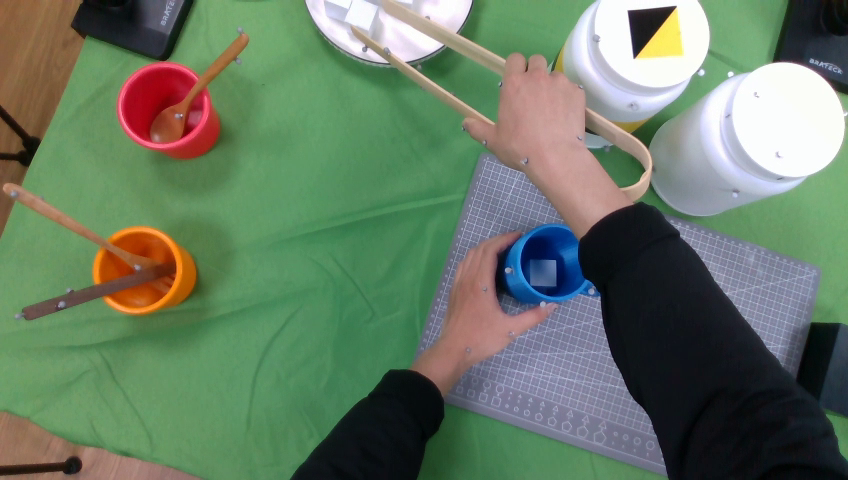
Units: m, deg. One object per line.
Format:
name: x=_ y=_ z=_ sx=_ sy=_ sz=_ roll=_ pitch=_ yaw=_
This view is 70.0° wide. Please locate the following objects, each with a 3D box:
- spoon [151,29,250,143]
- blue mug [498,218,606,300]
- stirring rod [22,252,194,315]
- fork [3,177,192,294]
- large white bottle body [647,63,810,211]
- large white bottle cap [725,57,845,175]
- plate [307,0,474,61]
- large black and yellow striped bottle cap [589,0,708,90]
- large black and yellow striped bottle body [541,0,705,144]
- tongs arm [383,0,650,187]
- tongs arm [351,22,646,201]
spoon: x=-0.244 y=-0.163 z=0.653 sx=0.193 sy=0.022 sz=0.041 roll=-31 pitch=81 yaw=37
blue mug: x=0.147 y=0.031 z=0.678 sx=0.116 sy=0.106 sz=0.082 roll=25 pitch=82 yaw=-1
stirring rod: x=-0.319 y=0.042 z=0.629 sx=0.176 sy=0.006 sz=0.014 roll=-23 pitch=88 yaw=-48
fork: x=-0.329 y=-0.001 z=0.626 sx=0.028 sy=0.018 sz=0.209 roll=-54 pitch=133 yaw=-8
large white bottle body: x=0.343 y=-0.109 z=0.669 sx=0.131 sy=0.185 sz=0.130 roll=0 pitch=83 yaw=-4
large white bottle cap: x=0.349 y=-0.120 z=0.585 sx=0.115 sy=0.018 sz=0.114 roll=1 pitch=84 yaw=-5
plate: x=-0.041 y=-0.314 z=0.736 sx=0.208 sy=0.039 sz=0.207 roll=0 pitch=84 yaw=-4
large black and yellow striped bottle cap: x=0.218 y=-0.204 z=0.586 sx=0.115 sy=0.019 sz=0.114 roll=0 pitch=85 yaw=-5
large black and yellow striped bottle body: x=0.212 y=-0.192 z=0.668 sx=0.131 sy=0.184 sz=0.130 roll=0 pitch=83 yaw=-4
tongs arm: x=0.078 y=-0.171 z=0.625 sx=0.028 sy=0.028 sz=0.384 roll=-42 pitch=60 yaw=-12
tongs arm: x=0.056 y=-0.149 z=0.620 sx=0.051 sy=0.027 sz=0.381 roll=-42 pitch=60 yaw=-8
